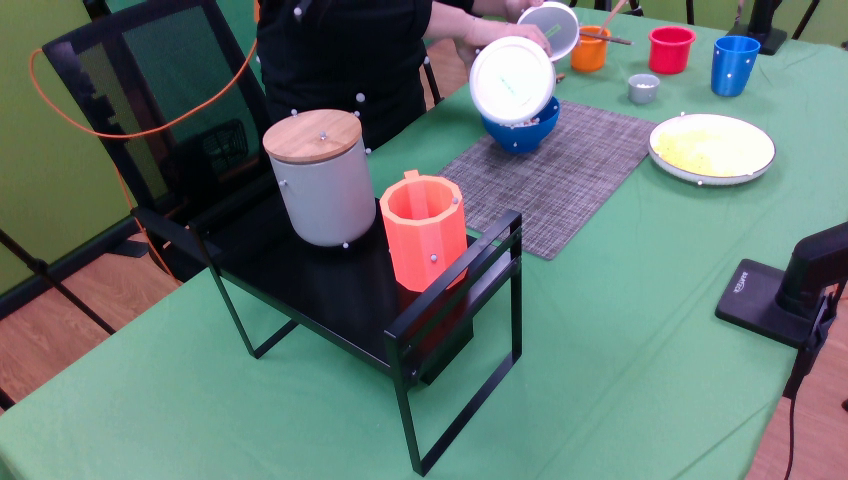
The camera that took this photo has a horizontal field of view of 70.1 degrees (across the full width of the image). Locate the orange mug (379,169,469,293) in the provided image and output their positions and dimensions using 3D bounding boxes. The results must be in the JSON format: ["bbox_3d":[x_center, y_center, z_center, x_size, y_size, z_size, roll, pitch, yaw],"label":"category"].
[{"bbox_3d":[-0.002,-0.019,0.665,0.083,0.101,0.125,-12,45,-4],"label":"orange mug"}]

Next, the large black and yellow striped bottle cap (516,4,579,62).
[{"bbox_3d":[0.228,-0.381,1.118,0.115,0.115,0.018,0,52,9],"label":"large black and yellow striped bottle cap"}]

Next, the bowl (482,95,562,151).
[{"bbox_3d":[0.187,-0.223,1.161,0.151,0.077,0.150,-4,40,4],"label":"bowl"}]

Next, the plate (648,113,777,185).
[{"bbox_3d":[0.506,-0.158,1.073,0.209,0.038,0.208,-5,40,4],"label":"plate"}]

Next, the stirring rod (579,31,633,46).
[{"bbox_3d":[0.382,-0.454,1.345,0.174,0.006,0.014,27,53,34],"label":"stirring rod"}]

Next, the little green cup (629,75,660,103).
[{"bbox_3d":[0.458,-0.314,1.260,0.061,0.039,0.061,-4,40,4],"label":"little green cup"}]

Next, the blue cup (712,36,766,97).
[{"bbox_3d":[0.627,-0.350,1.227,0.092,0.100,0.092,-4,39,4],"label":"blue cup"}]

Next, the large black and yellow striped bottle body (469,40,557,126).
[{"bbox_3d":[0.155,-0.264,1.012,0.130,0.131,0.184,4,17,14],"label":"large black and yellow striped bottle body"}]

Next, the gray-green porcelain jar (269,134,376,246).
[{"bbox_3d":[-0.115,-0.064,0.715,0.106,0.127,0.105,-4,40,4],"label":"gray-green porcelain jar"}]

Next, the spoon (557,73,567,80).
[{"bbox_3d":[0.250,-0.337,1.332,0.194,0.022,0.041,-32,32,-25],"label":"spoon"}]

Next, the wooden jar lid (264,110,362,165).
[{"bbox_3d":[-0.122,-0.112,0.673,0.108,0.021,0.108,-4,37,4],"label":"wooden jar lid"}]

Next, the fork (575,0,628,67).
[{"bbox_3d":[0.413,-0.481,1.377,0.207,0.019,0.028,-56,43,12],"label":"fork"}]
